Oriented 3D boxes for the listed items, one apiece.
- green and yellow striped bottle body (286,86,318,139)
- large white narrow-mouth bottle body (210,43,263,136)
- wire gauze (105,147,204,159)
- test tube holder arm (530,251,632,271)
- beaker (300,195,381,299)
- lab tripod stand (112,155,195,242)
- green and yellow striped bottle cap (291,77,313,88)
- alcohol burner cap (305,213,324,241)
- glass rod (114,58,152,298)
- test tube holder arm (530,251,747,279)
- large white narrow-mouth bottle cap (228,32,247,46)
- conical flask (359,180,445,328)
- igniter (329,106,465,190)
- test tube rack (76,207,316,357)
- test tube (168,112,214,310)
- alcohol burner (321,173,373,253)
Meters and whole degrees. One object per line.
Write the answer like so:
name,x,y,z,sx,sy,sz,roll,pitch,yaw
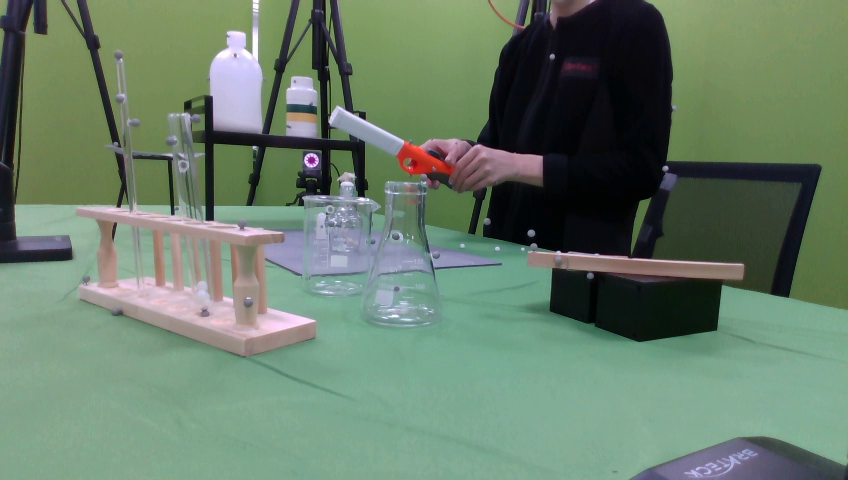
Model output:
green and yellow striped bottle body,-0.251,-0.270,1.245,0.063,0.119,0.063,2,7,0
large white narrow-mouth bottle body,-0.369,-0.305,1.194,0.102,0.194,0.102,3,8,0
wire gauze,-0.407,-0.131,0.928,0.125,0.011,0.121,2,6,-11
test tube holder arm,0.139,0.019,0.538,0.087,0.015,0.010,3,7,13
beaker,-0.087,0.006,0.626,0.084,0.100,0.074,1,8,-17
lab tripod stand,-0.405,-0.064,0.931,0.148,0.131,0.148,1,6,0
green and yellow striped bottle cap,-0.250,-0.321,1.237,0.045,0.020,0.045,3,6,0
alcohol burner cap,-0.185,-0.023,1.027,0.034,0.048,0.034,2,6,0
glass rod,-0.236,-0.044,0.492,0.008,0.199,0.008,0,15,0
test tube holder arm,0.182,0.022,0.523,0.178,0.015,0.013,3,7,12
large white narrow-mouth bottle cap,-0.364,-0.391,1.180,0.038,0.024,0.037,3,8,0
conical flask,-0.017,0.010,0.522,0.075,0.122,0.075,2,7,0
igniter,-0.034,-0.148,1.015,0.278,0.057,0.025,23,24,-34
test tube rack,-0.196,0.023,0.500,0.241,0.085,0.067,8,9,36
test tube,-0.175,-0.020,0.455,0.017,0.150,0.017,-4,9,1
alcohol burner,-0.115,-0.041,0.905,0.078,0.119,0.078,1,6,0
